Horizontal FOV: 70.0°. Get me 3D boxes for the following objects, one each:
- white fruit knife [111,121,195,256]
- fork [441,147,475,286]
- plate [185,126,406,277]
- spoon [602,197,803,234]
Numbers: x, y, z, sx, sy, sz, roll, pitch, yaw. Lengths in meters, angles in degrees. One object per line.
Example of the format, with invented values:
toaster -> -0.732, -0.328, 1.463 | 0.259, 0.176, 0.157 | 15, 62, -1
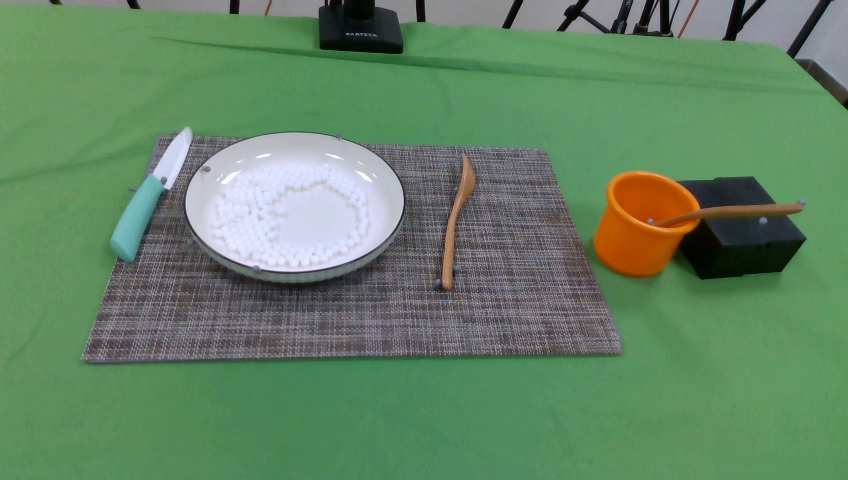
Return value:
white fruit knife -> -0.268, -0.062, 0.613 | 0.027, 0.016, 0.205 | 28, 38, -22
fork -> 0.035, -0.031, 0.629 | 0.018, 0.028, 0.205 | -10, 42, 25
plate -> -0.122, -0.039, 0.597 | 0.209, 0.038, 0.207 | 5, 45, -5
spoon -> 0.253, -0.025, 0.574 | 0.041, 0.193, 0.022 | -27, 99, -34
